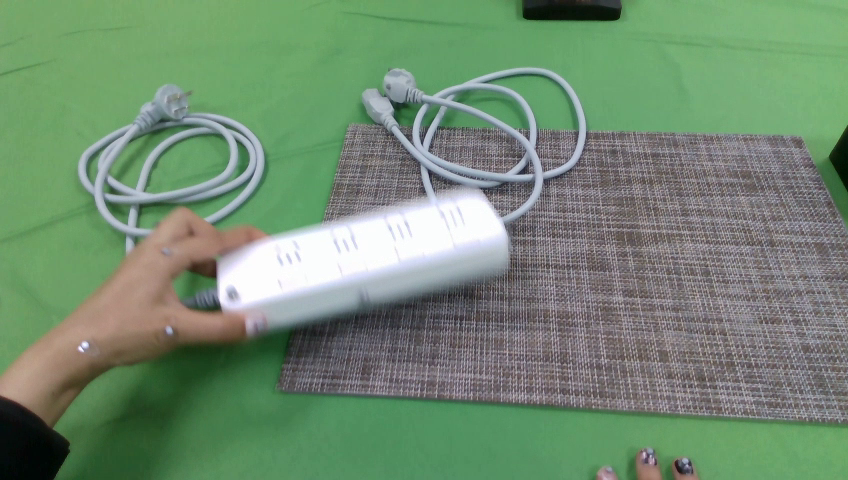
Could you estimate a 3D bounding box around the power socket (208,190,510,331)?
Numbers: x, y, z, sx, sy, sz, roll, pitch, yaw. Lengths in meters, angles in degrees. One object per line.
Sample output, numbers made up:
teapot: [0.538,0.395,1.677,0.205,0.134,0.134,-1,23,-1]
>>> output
power socket: [-0.045,0.012,0.451,0.227,0.033,0.071,-13,42,-10]

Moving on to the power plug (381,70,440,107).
power plug: [-0.013,-0.152,0.641,0.072,0.035,0.052,32,31,7]
